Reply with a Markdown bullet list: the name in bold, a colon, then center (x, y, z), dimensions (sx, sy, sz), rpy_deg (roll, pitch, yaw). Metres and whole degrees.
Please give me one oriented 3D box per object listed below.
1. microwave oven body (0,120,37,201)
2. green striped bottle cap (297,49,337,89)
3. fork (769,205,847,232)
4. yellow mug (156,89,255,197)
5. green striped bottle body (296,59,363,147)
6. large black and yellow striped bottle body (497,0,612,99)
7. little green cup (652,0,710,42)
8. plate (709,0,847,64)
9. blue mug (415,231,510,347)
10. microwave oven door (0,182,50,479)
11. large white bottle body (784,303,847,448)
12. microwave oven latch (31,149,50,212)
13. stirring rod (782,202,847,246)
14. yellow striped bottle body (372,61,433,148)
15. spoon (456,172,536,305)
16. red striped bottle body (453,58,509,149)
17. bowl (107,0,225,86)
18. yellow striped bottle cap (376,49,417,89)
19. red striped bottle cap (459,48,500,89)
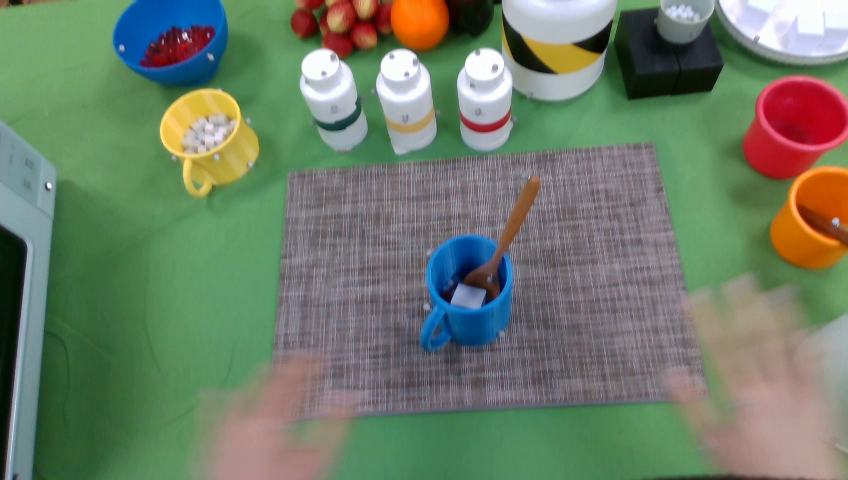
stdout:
- **microwave oven body**: center (-0.602, 0.075, 0.584), dimensions (0.326, 0.262, 0.437), rpy_deg (-12, 65, -1)
- **green striped bottle cap**: center (-0.121, -0.193, 0.683), dimensions (0.044, 0.020, 0.044), rpy_deg (-1, 65, 3)
- **fork**: center (0.431, -0.009, 0.583), dimensions (0.028, 0.019, 0.205), rpy_deg (-40, 23, -12)
- **yellow mug**: center (-0.274, -0.115, 0.750), dimensions (0.100, 0.064, 0.130), rpy_deg (5, 66, 7)
- **green striped bottle body**: center (-0.114, -0.171, 0.730), dimensions (0.063, 0.120, 0.062), rpy_deg (-2, 65, 5)
- **large black and yellow striped bottle body**: center (0.151, -0.272, 0.715), dimensions (0.130, 0.185, 0.129), rpy_deg (-2, 65, 5)
- **little green cup**: center (0.303, -0.268, 0.721), dimensions (0.061, 0.039, 0.061), rpy_deg (-1, 63, 3)
- **plate**: center (0.470, -0.305, 0.778), dimensions (0.209, 0.038, 0.207), rpy_deg (-2, 65, 5)
- **blue mug**: center (0.033, 0.061, 0.611), dimensions (0.082, 0.107, 0.116), rpy_deg (38, 74, 21)
- **microwave oven door**: center (-0.452, 0.079, 0.561), dimensions (0.039, 0.246, 0.352), rpy_deg (-13, 64, 0)
- **large white bottle body**: center (0.410, 0.104, 0.512), dimensions (0.130, 0.186, 0.129), rpy_deg (-2, 65, 5)
- **microwave oven latch**: center (-0.482, -0.071, 0.747), dimensions (0.030, 0.030, 0.078), rpy_deg (-12, 65, 0)
- **stirring rod**: center (0.401, -0.008, 0.593), dimensions (0.014, 0.006, 0.175), rpy_deg (-1, 22, 2)
- **yellow striped bottle body**: center (-0.025, -0.169, 0.720), dimensions (0.063, 0.121, 0.062), rpy_deg (-3, 64, 6)
- **spoon**: center (0.069, 0.006, 0.570), dimensions (0.041, 0.195, 0.021), rpy_deg (29, 54, 7)
- **red striped bottle body**: center (0.067, -0.165, 0.709), dimensions (0.063, 0.121, 0.062), rpy_deg (-3, 63, 7)
- **bowl**: center (-0.333, -0.263, 0.819), dimensions (0.151, 0.077, 0.150), rpy_deg (-2, 65, 4)
- **yellow striped bottle cap**: center (-0.031, -0.190, 0.673), dimensions (0.044, 0.019, 0.044), rpy_deg (-2, 66, 5)
- **red striped bottle cap**: center (0.061, -0.188, 0.662), dimensions (0.044, 0.018, 0.044), rpy_deg (-1, 63, 1)
